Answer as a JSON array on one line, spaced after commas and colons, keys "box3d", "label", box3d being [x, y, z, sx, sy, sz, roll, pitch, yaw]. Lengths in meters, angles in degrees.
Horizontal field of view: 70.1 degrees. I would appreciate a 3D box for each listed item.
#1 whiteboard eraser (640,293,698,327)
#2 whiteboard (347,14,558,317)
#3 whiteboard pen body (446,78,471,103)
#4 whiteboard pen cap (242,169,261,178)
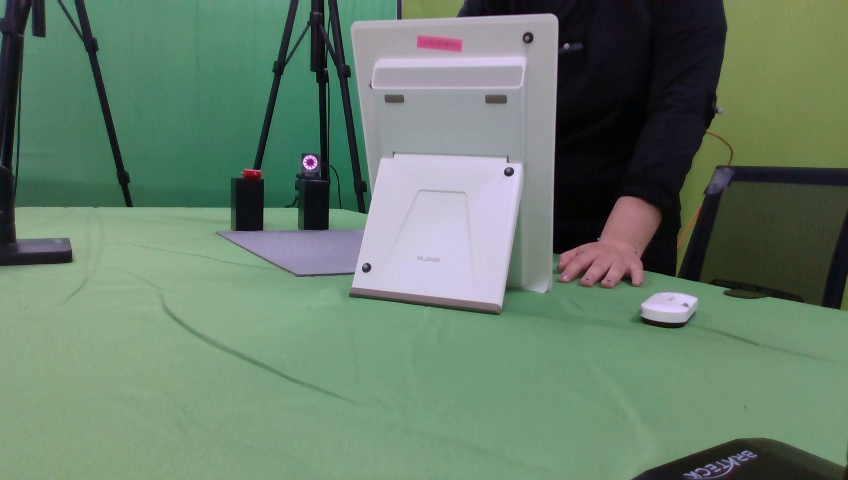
[{"box3d": [0.240, 0.066, 0.590, 0.041, 0.019, 0.102, 5, 7, 32], "label": "whiteboard eraser"}, {"box3d": [0.012, -0.055, 0.608, 0.216, 0.305, 0.144, 6, 27, 20], "label": "whiteboard"}, {"box3d": [0.040, -0.172, 0.699, 0.017, 0.017, 0.140, 4, 22, 10], "label": "whiteboard pen body"}, {"box3d": [-0.326, -0.125, 1.144, 0.032, 0.017, 0.017, 0, 7, -37], "label": "whiteboard pen cap"}]
